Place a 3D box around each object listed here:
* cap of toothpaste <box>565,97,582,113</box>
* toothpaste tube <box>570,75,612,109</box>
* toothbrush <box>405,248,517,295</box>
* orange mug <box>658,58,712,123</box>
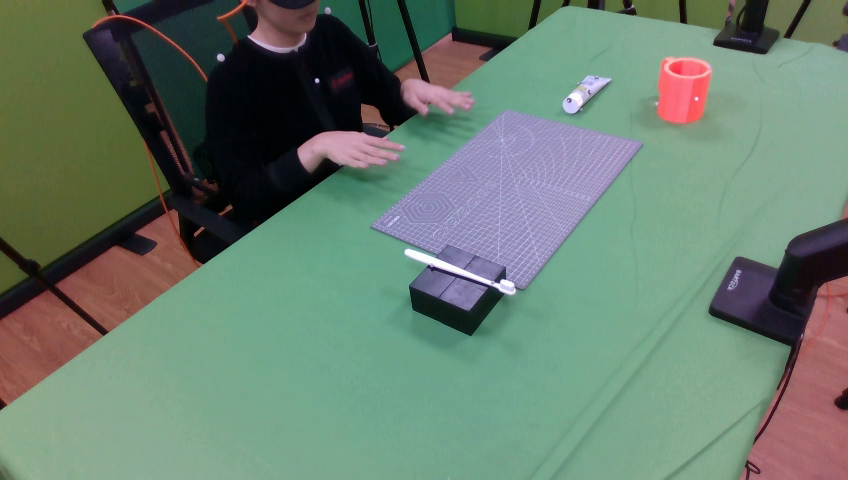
[{"bbox_3d":[0.306,-0.277,1.239,0.037,0.037,0.011,17,43,26],"label":"cap of toothpaste"},{"bbox_3d":[0.351,-0.319,1.290,0.054,0.034,0.165,22,44,24],"label":"toothpaste tube"},{"bbox_3d":[0.048,0.041,0.850,0.180,0.017,0.014,19,52,28],"label":"toothbrush"},{"bbox_3d":[0.504,-0.304,1.193,0.083,0.101,0.125,-13,45,-5],"label":"orange mug"}]
